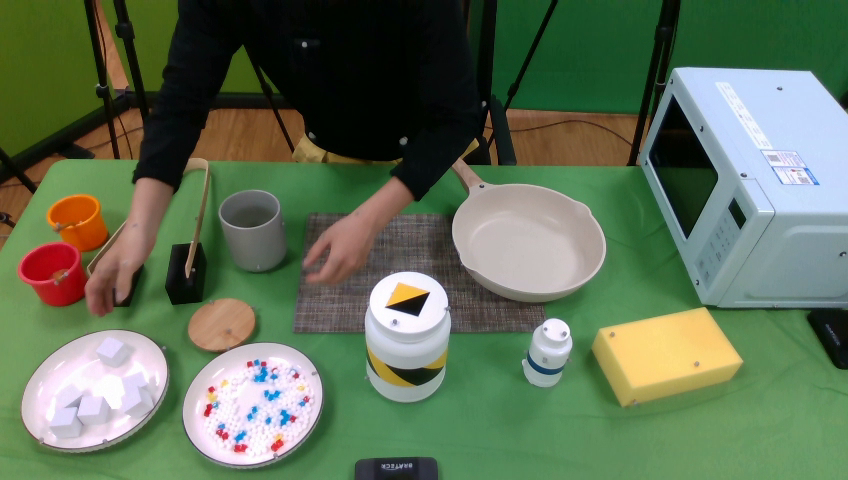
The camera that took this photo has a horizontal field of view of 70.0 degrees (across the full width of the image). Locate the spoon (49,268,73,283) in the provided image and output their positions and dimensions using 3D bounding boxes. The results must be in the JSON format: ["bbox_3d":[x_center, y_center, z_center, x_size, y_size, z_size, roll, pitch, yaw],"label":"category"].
[{"bbox_3d":[-0.608,0.059,1.011,0.041,0.021,0.193,-30,11,-27],"label":"spoon"}]

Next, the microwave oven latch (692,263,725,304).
[{"bbox_3d":[0.522,0.081,1.116,0.030,0.029,0.078,1,46,-2],"label":"microwave oven latch"}]

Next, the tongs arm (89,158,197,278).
[{"bbox_3d":[-0.530,-0.057,1.163,0.028,0.028,0.385,1,36,7],"label":"tongs arm"}]

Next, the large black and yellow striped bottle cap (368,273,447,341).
[{"bbox_3d":[-0.023,0.094,0.875,0.115,0.019,0.114,2,45,-2],"label":"large black and yellow striped bottle cap"}]

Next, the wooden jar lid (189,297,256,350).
[{"bbox_3d":[-0.342,0.145,1.033,0.108,0.021,0.107,3,45,-2],"label":"wooden jar lid"}]

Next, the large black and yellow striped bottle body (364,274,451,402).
[{"bbox_3d":[-0.026,0.151,0.937,0.131,0.185,0.130,2,47,-2],"label":"large black and yellow striped bottle body"}]

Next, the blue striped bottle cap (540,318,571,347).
[{"bbox_3d":[0.203,0.142,0.933,0.044,0.021,0.044,3,50,-4],"label":"blue striped bottle cap"}]

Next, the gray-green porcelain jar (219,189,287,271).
[{"bbox_3d":[-0.310,-0.014,1.114,0.106,0.127,0.105,2,46,-2],"label":"gray-green porcelain jar"}]

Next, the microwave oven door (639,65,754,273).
[{"bbox_3d":[0.522,-0.147,1.193,0.039,0.245,0.353,0,47,-3],"label":"microwave oven door"}]

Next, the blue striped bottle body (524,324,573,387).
[{"bbox_3d":[0.200,0.178,0.970,0.063,0.121,0.062,2,46,-2],"label":"blue striped bottle body"}]

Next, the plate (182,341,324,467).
[{"bbox_3d":[-0.257,0.250,0.927,0.209,0.038,0.208,3,46,-2],"label":"plate"}]

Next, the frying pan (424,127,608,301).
[{"bbox_3d":[0.143,-0.070,1.209,0.307,0.103,0.485,-23,61,-25],"label":"frying pan"}]

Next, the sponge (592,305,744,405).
[{"bbox_3d":[0.405,0.190,1.015,0.207,0.061,0.117,-10,48,-13],"label":"sponge"}]

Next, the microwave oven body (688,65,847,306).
[{"bbox_3d":[0.669,-0.111,1.176,0.326,0.261,0.439,0,46,-3],"label":"microwave oven body"}]

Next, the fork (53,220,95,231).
[{"bbox_3d":[-0.627,-0.027,1.086,0.028,0.018,0.207,0,2,-15],"label":"fork"}]

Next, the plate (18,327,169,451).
[{"bbox_3d":[-0.498,0.229,0.929,0.208,0.039,0.206,2,46,-2],"label":"plate"}]

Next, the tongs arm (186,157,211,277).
[{"bbox_3d":[-0.445,-0.058,1.168,0.051,0.026,0.382,-5,37,-6],"label":"tongs arm"}]
